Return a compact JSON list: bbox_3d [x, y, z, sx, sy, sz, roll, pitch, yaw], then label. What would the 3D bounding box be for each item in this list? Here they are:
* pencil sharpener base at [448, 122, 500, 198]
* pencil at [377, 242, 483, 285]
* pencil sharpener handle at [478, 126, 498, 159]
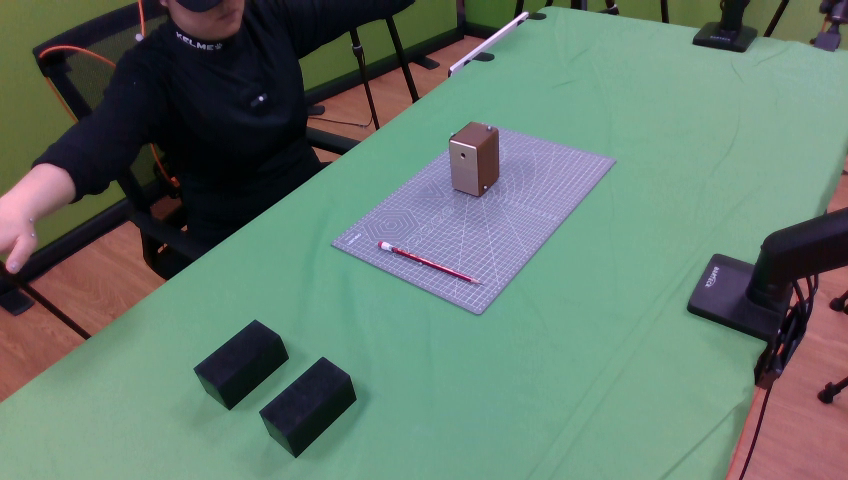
[{"bbox_3d":[0.090,-0.141,1.052,0.061,0.107,0.077,20,47,30],"label":"pencil sharpener base"},{"bbox_3d":[0.006,0.036,0.930,0.192,0.012,0.012,20,47,27],"label":"pencil"},{"bbox_3d":[0.119,-0.179,1.075,0.035,0.068,0.031,21,47,30],"label":"pencil sharpener handle"}]
